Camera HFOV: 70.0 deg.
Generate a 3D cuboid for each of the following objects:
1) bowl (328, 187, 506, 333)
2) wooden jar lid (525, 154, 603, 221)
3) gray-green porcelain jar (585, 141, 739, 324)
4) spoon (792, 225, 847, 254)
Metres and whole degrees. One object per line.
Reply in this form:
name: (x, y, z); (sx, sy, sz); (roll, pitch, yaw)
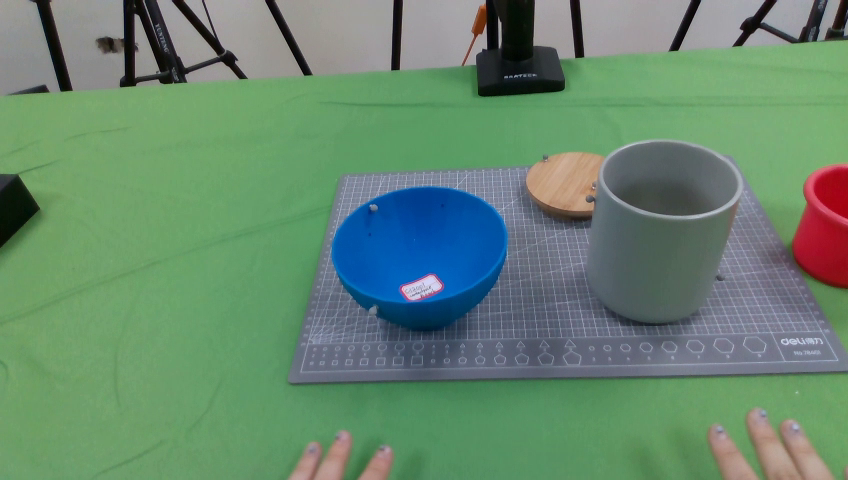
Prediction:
bowl: (-0.003, 0.028, 0.533); (0.151, 0.077, 0.150); (-3, 42, 3)
wooden jar lid: (0.163, -0.056, 0.653); (0.108, 0.021, 0.107); (-4, 40, 4)
gray-green porcelain jar: (0.191, -0.001, 0.505); (0.106, 0.128, 0.105); (-4, 41, 4)
spoon: (0.402, -0.021, 0.492); (0.022, 0.193, 0.041); (52, 53, -6)
